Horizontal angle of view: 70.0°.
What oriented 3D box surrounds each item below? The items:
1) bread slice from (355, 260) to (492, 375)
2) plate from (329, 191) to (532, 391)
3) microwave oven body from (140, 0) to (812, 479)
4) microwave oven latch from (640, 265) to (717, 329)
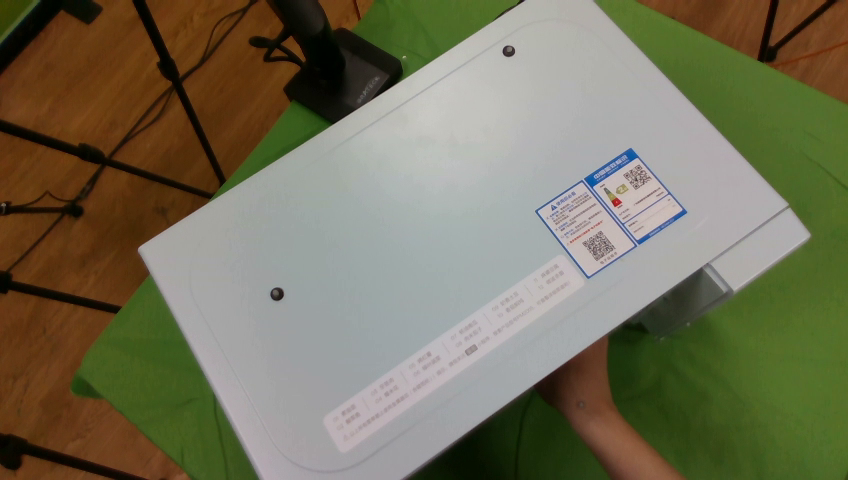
[{"bbox_3d":[-0.003,0.078,0.635,0.134,0.018,0.106,11,74,-2],"label":"bread slice"},{"bbox_3d":[0.007,0.052,0.634,0.207,0.039,0.206,-1,75,3],"label":"plate"},{"bbox_3d":[0.034,0.018,0.589,0.442,0.262,0.324,-34,73,-4],"label":"microwave oven body"},{"bbox_3d":[0.274,0.062,0.652,0.079,0.030,0.030,-33,73,-4],"label":"microwave oven latch"}]
